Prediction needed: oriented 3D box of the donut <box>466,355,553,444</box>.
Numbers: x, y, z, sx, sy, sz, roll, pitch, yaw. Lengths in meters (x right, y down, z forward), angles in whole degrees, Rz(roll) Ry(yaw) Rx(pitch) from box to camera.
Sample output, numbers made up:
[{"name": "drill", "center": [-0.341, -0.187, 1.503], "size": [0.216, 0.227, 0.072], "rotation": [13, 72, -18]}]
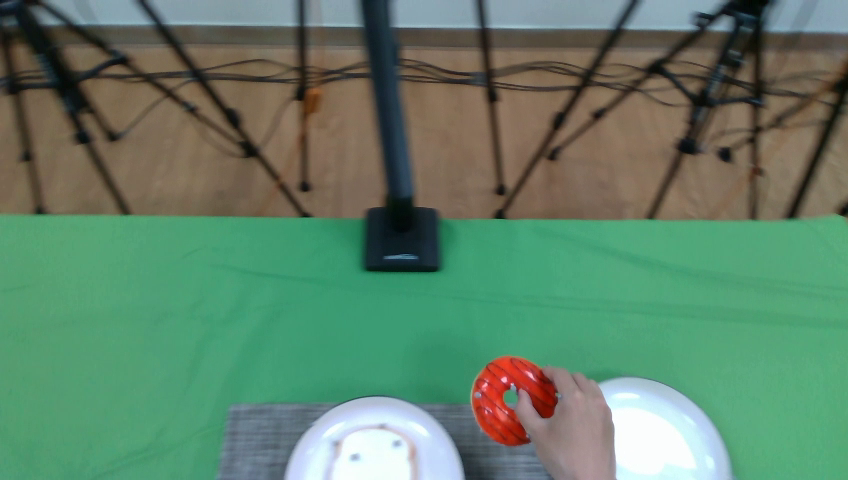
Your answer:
[{"name": "donut", "center": [0.096, 0.179, 0.684], "size": [0.099, 0.048, 0.098], "rotation": [1, 70, -2]}]

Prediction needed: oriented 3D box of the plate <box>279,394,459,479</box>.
[{"name": "plate", "center": [-0.064, 0.286, 0.709], "size": [0.209, 0.038, 0.207], "rotation": [1, 58, -1]}]

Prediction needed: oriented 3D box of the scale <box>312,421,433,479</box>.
[{"name": "scale", "center": [-0.063, 0.319, 0.727], "size": [0.149, 0.032, 0.199], "rotation": [1, 58, -1]}]

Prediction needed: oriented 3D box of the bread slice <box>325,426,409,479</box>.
[{"name": "bread slice", "center": [-0.069, 0.285, 0.712], "size": [0.105, 0.019, 0.130], "rotation": [5, 58, -1]}]

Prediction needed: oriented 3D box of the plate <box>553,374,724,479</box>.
[{"name": "plate", "center": [0.265, 0.274, 0.766], "size": [0.208, 0.039, 0.205], "rotation": [1, 57, -1]}]
